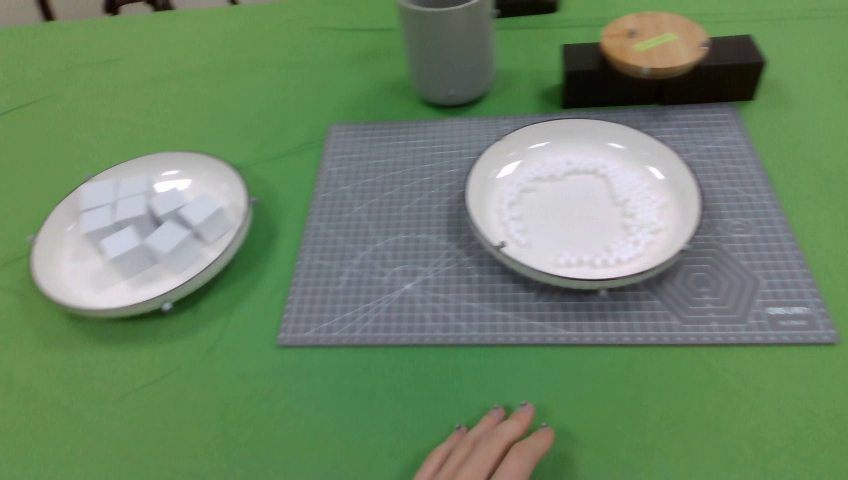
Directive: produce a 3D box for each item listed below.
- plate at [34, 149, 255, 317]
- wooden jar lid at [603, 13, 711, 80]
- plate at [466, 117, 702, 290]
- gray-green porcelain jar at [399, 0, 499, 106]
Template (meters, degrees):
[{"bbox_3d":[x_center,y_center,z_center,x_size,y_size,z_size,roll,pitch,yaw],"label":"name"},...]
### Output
[{"bbox_3d":[-0.266,-0.008,0.595,0.207,0.039,0.205,-4,49,5],"label":"plate"},{"bbox_3d":[0.245,-0.205,0.642,0.108,0.021,0.107,-3,50,4],"label":"wooden jar lid"},{"bbox_3d":[0.143,-0.035,0.560,0.209,0.038,0.207,-4,49,5],"label":"plate"},{"bbox_3d":[0.031,-0.226,0.684,0.106,0.128,0.105,-4,49,5],"label":"gray-green porcelain jar"}]
